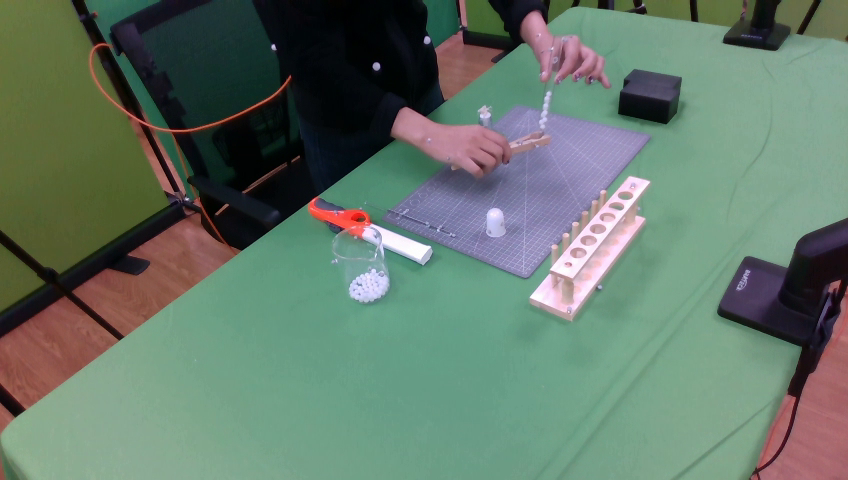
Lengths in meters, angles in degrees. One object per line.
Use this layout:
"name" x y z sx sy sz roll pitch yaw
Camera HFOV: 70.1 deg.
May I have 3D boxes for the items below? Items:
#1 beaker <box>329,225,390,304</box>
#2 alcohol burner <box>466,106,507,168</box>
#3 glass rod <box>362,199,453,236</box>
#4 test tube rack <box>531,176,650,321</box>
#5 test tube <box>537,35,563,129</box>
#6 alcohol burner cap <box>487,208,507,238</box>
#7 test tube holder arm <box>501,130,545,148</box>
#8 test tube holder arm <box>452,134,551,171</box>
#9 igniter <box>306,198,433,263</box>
"beaker" -0.089 0.040 0.890 0.074 0.101 0.083 -32 46 -24
"alcohol burner" 0.115 -0.193 1.112 0.078 0.119 0.077 -4 41 4
"glass rod" -0.031 -0.041 1.041 0.198 0.008 0.008 22 50 31
"test tube rack" 0.246 0.002 0.884 0.066 0.085 0.243 22 49 32
"test tube" 0.197 -0.244 0.947 0.017 0.150 0.017 3 34 -2
"alcohol burner cap" 0.116 -0.030 0.975 0.034 0.048 0.033 -6 40 5
"test tube holder arm" 0.163 -0.161 0.997 0.088 0.015 0.010 -26 44 -25
"test tube holder arm" 0.127 -0.143 0.977 0.179 0.015 0.013 -19 41 -18
"igniter" -0.101 -0.020 1.019 0.274 0.025 0.057 22 59 32
